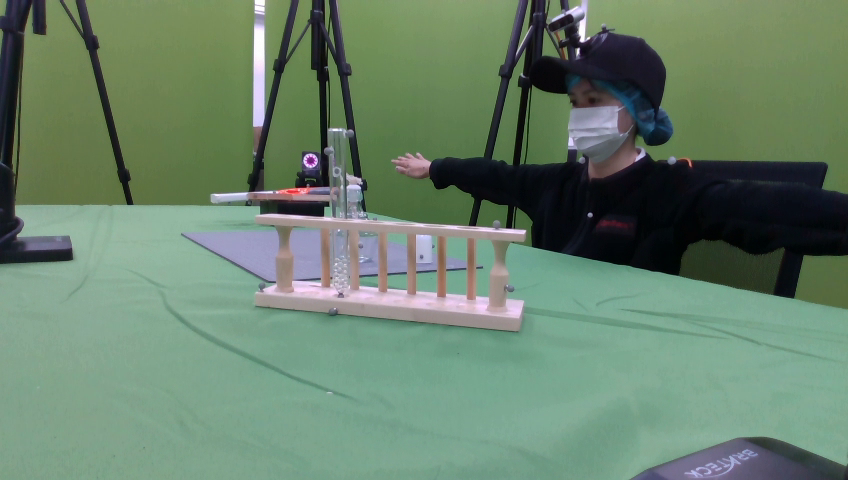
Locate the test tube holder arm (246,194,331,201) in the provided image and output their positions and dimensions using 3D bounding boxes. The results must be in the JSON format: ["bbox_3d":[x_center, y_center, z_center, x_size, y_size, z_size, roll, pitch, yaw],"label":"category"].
[{"bbox_3d":[-0.274,-0.087,1.236,0.179,0.015,0.013,-3,2,-35],"label":"test tube holder arm"}]

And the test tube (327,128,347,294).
[{"bbox_3d":[-0.079,-0.025,0.545,0.017,0.150,0.017,0,9,0],"label":"test tube"}]

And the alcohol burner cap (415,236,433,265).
[{"bbox_3d":[-0.004,0.011,0.835,0.034,0.048,0.034,2,7,0],"label":"alcohol burner cap"}]

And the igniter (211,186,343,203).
[{"bbox_3d":[-0.300,-0.094,1.266,0.278,0.025,0.057,-6,12,-34],"label":"igniter"}]

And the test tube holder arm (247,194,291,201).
[{"bbox_3d":[-0.308,-0.085,1.206,0.088,0.015,0.010,-3,2,-34],"label":"test tube holder arm"}]

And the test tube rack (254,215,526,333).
[{"bbox_3d":[-0.030,0.025,0.557,0.242,0.085,0.067,4,7,12],"label":"test tube rack"}]

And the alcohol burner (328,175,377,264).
[{"bbox_3d":[-0.098,-0.028,0.819,0.078,0.119,0.078,1,8,0],"label":"alcohol burner"}]
